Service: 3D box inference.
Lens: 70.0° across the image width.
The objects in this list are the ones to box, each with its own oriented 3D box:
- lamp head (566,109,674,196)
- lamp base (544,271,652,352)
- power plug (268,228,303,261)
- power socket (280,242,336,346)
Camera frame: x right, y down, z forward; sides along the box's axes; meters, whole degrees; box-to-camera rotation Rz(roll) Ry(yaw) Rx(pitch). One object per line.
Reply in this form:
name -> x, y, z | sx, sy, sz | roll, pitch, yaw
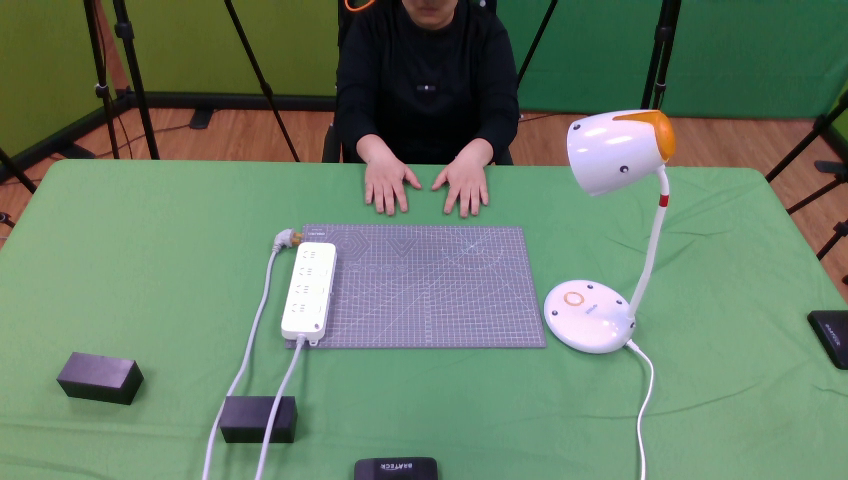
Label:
lamp head -> 0.272, -0.123, 0.818 | 0.122, 0.113, 0.112 | -9, 35, 37
lamp base -> 0.309, 0.086, 1.029 | 0.178, 0.181, 0.160 | 32, 52, 21
power plug -> -0.265, 0.012, 1.172 | 0.052, 0.035, 0.072 | 9, 81, 9
power socket -> -0.206, 0.087, 1.087 | 0.072, 0.033, 0.225 | 3, 46, -1
